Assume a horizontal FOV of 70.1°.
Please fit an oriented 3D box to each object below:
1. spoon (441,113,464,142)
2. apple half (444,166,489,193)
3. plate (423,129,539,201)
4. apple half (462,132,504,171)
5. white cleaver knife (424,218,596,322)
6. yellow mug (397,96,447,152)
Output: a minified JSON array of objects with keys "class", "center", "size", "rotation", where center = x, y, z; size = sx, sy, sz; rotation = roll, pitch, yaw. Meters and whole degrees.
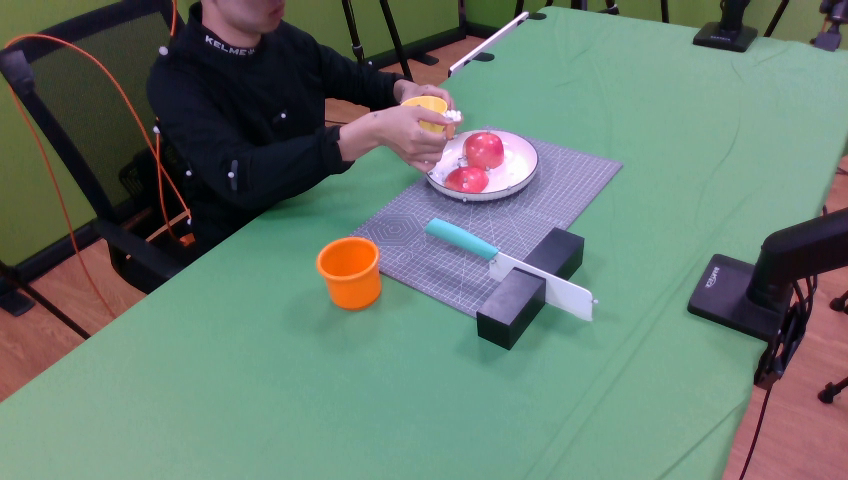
[{"class":"spoon","center":[0.044,-0.188,1.003],"size":[0.041,0.021,0.193],"rotation":[-2,18,6]},{"class":"apple half","center":[0.074,-0.113,1.063],"size":[0.081,0.033,0.081],"rotation":[-6,39,5]},{"class":"plate","center":[0.103,-0.132,1.092],"size":[0.209,0.038,0.208],"rotation":[-4,40,4]},{"class":"apple half","center":[0.109,-0.170,1.110],"size":[0.075,0.053,0.080],"rotation":[-6,40,-2]},{"class":"white cleaver knife","center":[0.114,0.042,0.865],"size":[0.284,0.066,0.021],"rotation":[27,47,28]},{"class":"yellow mug","center":[-0.004,-0.226,1.200],"size":[0.099,0.064,0.130],"rotation":[5,43,15]}]
